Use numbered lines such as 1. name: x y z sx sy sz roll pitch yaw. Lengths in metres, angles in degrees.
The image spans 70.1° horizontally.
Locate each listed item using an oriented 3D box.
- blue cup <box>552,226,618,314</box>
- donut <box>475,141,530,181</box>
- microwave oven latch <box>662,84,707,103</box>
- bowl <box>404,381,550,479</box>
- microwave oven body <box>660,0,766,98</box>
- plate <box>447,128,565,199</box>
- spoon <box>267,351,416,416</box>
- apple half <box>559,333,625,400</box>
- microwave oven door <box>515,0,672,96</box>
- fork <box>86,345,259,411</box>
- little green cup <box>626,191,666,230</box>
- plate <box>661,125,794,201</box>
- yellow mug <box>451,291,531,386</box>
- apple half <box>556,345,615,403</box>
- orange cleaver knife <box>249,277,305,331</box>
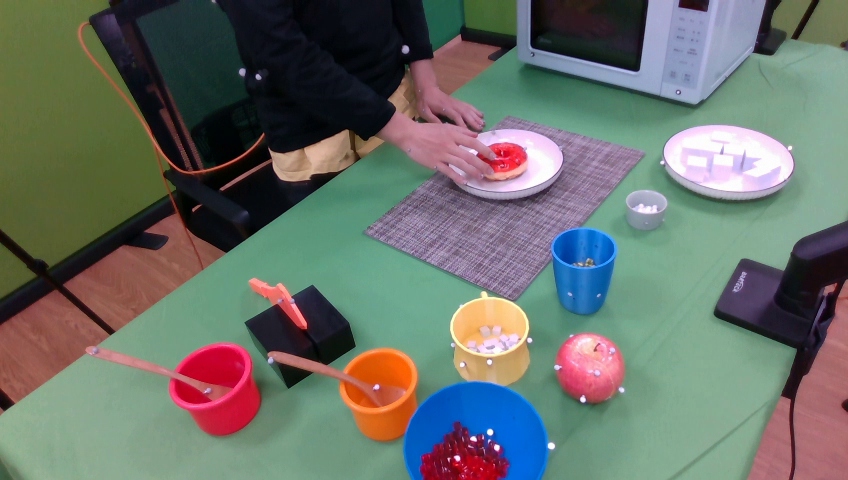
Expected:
1. blue cup: 0.218 0.047 0.826 0.092 0.101 0.092 -6 40 5
2. donut: 0.141 -0.145 1.089 0.099 0.048 0.098 -6 38 5
3. microwave oven latch: 0.517 -0.296 1.204 0.078 0.029 0.030 27 52 35
4. bowl: 0.058 0.235 0.645 0.151 0.077 0.150 -4 39 4
5. microwave oven body: 0.472 -0.513 1.317 0.438 0.261 0.327 26 51 34
6. plate: 0.147 -0.134 1.092 0.209 0.038 0.208 -4 40 4
7. spoon: -0.090 0.162 0.699 0.021 0.195 0.041 -44 30 27
8. apple half: 0.209 0.147 0.730 0.080 0.075 0.053 26 47 38
9. microwave oven door: 0.343 -0.455 1.259 0.353 0.245 0.039 26 51 33
10. fork: -0.298 0.166 0.728 0.209 0.018 0.028 28 47 -23
11. little green cup: 0.352 -0.046 0.963 0.061 0.039 0.061 -4 40 4
12. plate: 0.513 -0.128 1.035 0.207 0.039 0.206 -4 40 4
13. yellow mug: 0.085 0.120 0.786 0.100 0.064 0.130 -7 39 1
14. apple half: 0.181 0.167 0.709 0.080 0.081 0.033 29 49 35
15. orange cleaver knife: -0.210 0.088 0.855 0.012 0.077 0.210 -28 15 -25
